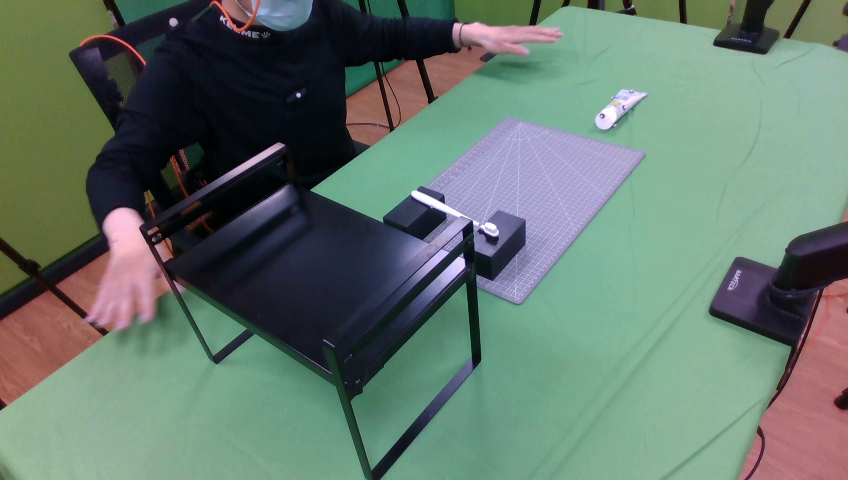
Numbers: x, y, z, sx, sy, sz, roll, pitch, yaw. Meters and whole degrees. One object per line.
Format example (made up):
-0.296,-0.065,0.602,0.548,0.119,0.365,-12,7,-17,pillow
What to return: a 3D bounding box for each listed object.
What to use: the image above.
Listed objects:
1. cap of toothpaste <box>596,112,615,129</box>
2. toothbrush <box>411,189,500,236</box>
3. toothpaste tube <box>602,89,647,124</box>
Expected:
0.354,-0.233,1.177,0.037,0.037,0.011,20,44,28,cap of toothpaste
0.044,-0.046,0.940,0.180,0.017,0.014,28,68,36,toothbrush
0.400,-0.274,1.227,0.054,0.034,0.165,22,45,26,toothpaste tube
